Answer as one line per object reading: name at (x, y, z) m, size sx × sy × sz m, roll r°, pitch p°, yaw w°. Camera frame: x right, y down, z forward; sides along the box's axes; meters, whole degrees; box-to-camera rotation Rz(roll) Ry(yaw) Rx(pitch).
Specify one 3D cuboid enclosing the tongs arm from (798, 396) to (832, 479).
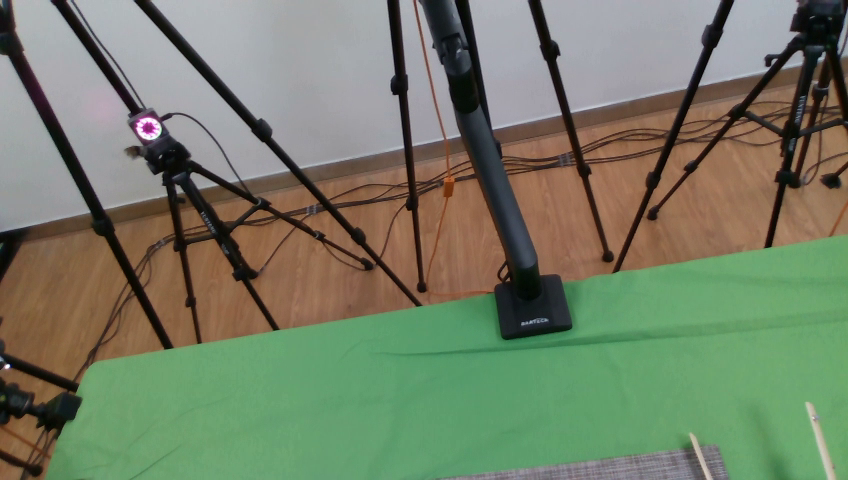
tongs arm at (0.452, 0.363, 0.666) m, size 0.050 × 0.027 × 0.381 m, roll -22°, pitch 47°, yaw 31°

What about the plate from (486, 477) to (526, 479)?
plate at (0.107, 0.413, 0.774) m, size 0.207 × 0.039 × 0.205 m, roll -8°, pitch 48°, yaw 9°

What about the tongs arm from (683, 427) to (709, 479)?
tongs arm at (0.389, 0.397, 0.706) m, size 0.028 × 0.028 × 0.383 m, roll -30°, pitch 43°, yaw 19°
